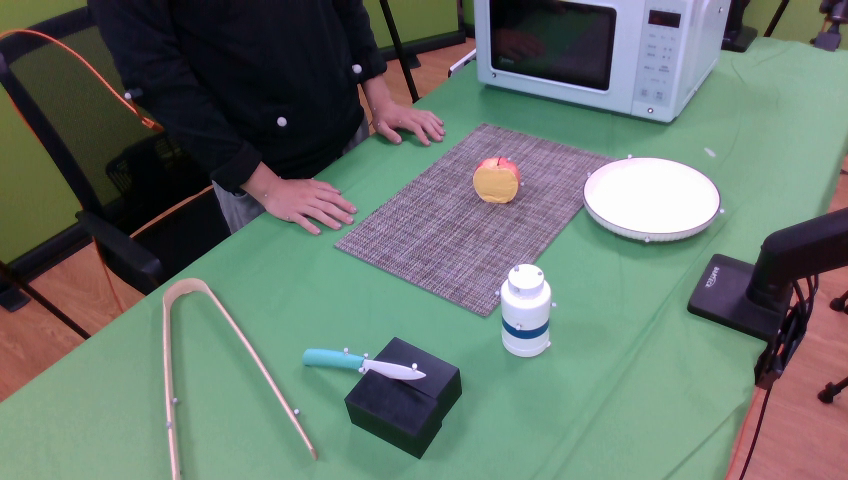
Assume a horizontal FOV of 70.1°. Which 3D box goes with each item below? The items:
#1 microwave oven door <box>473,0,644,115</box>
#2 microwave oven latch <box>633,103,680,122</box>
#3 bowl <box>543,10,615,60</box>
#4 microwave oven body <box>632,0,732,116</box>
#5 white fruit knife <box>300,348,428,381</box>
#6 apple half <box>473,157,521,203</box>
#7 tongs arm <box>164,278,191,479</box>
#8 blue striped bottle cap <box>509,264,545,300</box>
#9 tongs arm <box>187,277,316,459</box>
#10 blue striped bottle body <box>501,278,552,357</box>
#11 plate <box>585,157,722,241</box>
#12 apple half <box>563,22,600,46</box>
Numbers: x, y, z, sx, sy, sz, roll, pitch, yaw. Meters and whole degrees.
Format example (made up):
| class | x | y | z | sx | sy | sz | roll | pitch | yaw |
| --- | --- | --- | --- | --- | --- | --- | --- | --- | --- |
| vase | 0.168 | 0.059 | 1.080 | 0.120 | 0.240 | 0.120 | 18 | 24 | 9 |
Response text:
| class | x | y | z | sx | sy | sz | roll | pitch | yaw |
| --- | --- | --- | --- | --- | --- | --- | --- | --- | --- |
| microwave oven door | 0.257 | -0.396 | 1.199 | 0.353 | 0.245 | 0.039 | 21 | 48 | 29 |
| microwave oven latch | 0.444 | -0.249 | 1.157 | 0.078 | 0.029 | 0.030 | 21 | 48 | 30 |
| bowl | 0.335 | -0.439 | 1.306 | 0.151 | 0.077 | 0.151 | -8 | 30 | 5 |
| microwave oven body | 0.377 | -0.462 | 1.267 | 0.438 | 0.261 | 0.327 | 21 | 48 | 30 |
| white fruit knife | -0.079 | 0.154 | 0.748 | 0.206 | 0.027 | 0.016 | 1 | 20 | 34 |
| apple half | 0.128 | -0.107 | 1.030 | 0.080 | 0.075 | 0.053 | 4 | 38 | 19 |
| tongs arm | -0.313 | 0.182 | 0.789 | 0.051 | 0.026 | 0.381 | -19 | 41 | -14 |
| blue striped bottle cap | 0.125 | 0.051 | 0.735 | 0.044 | 0.021 | 0.044 | -5 | 39 | 5 |
| tongs arm | -0.241 | 0.154 | 0.815 | 0.028 | 0.028 | 0.384 | -31 | 46 | -21 |
| blue striped bottle body | 0.130 | 0.088 | 0.769 | 0.063 | 0.121 | 0.063 | -4 | 41 | 4 |
| plate | 0.367 | -0.063 | 0.979 | 0.207 | 0.039 | 0.206 | -4 | 41 | 4 |
| apple half | 0.334 | -0.447 | 1.299 | 0.081 | 0.033 | 0.081 | -16 | 35 | 12 |
